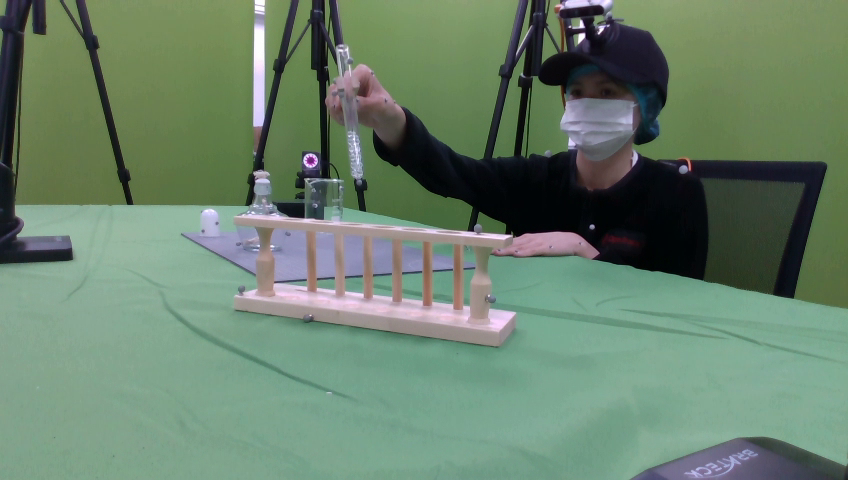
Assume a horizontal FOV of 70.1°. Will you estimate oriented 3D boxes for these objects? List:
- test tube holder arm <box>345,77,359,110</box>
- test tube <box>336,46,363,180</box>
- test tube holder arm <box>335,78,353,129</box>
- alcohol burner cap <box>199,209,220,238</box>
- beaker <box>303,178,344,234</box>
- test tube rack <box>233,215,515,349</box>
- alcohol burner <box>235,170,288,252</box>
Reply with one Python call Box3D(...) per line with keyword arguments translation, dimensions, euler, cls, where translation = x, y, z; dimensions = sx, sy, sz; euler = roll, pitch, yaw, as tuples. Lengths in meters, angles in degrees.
Box3D(translation=(-0.085, -0.166, 0.693), dimensions=(0.010, 0.015, 0.087), euler=(-6, -3, -14), cls="test tube holder arm")
Box3D(translation=(-0.083, -0.140, 0.668), dimensions=(0.017, 0.150, 0.017), euler=(-7, -4, 0), cls="test tube")
Box3D(translation=(-0.096, -0.163, 0.737), dimensions=(0.013, 0.015, 0.178), euler=(-6, -3, -6), cls="test tube holder arm")
Box3D(translation=(-0.356, -0.027, 1.002), dimensions=(0.034, 0.048, 0.034), euler=(3, 7, 0), cls="alcohol burner cap")
Box3D(translation=(-0.189, -0.063, 1.119), dimensions=(0.073, 0.100, 0.084), euler=(6, 9, 28), cls="beaker")
Box3D(translation=(-0.045, 0.028, 0.526), dimensions=(0.241, 0.085, 0.067), euler=(5, 8, 19), cls="test tube rack")
Box3D(translation=(-0.236, -0.042, 0.882), dimensions=(0.078, 0.119, 0.078), euler=(2, 9, 0), cls="alcohol burner")
